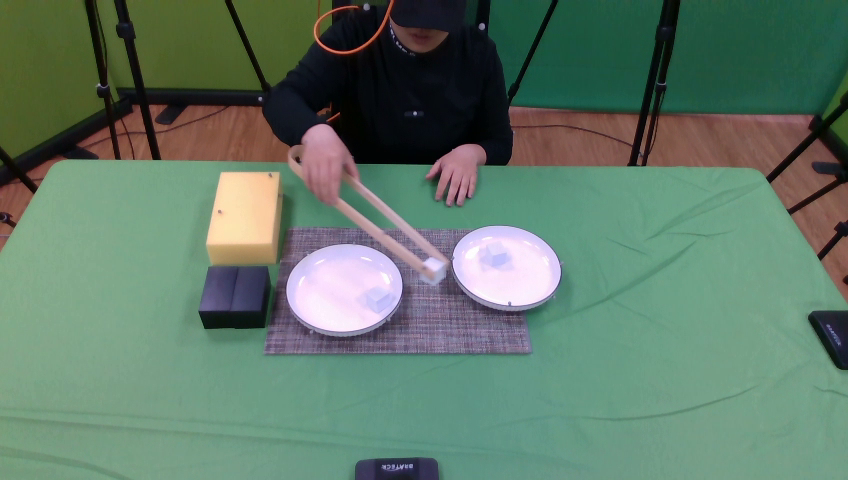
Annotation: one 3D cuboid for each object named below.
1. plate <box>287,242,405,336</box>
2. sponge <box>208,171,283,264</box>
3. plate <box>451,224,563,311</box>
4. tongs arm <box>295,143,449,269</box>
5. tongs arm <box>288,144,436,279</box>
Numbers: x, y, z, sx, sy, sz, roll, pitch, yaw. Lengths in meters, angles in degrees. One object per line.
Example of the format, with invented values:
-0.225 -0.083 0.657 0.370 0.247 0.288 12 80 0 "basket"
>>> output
-0.138 0.090 1.085 0.208 0.039 0.206 2 46 -2 "plate"
-0.346 -0.048 1.191 0.118 0.061 0.205 -2 46 -7 "sponge"
0.154 0.054 1.140 0.209 0.038 0.208 2 47 -2 "plate"
-0.100 -0.069 1.101 0.386 0.028 0.028 39 59 21 "tongs arm"
-0.116 -0.057 1.089 0.383 0.026 0.050 35 54 19 "tongs arm"
